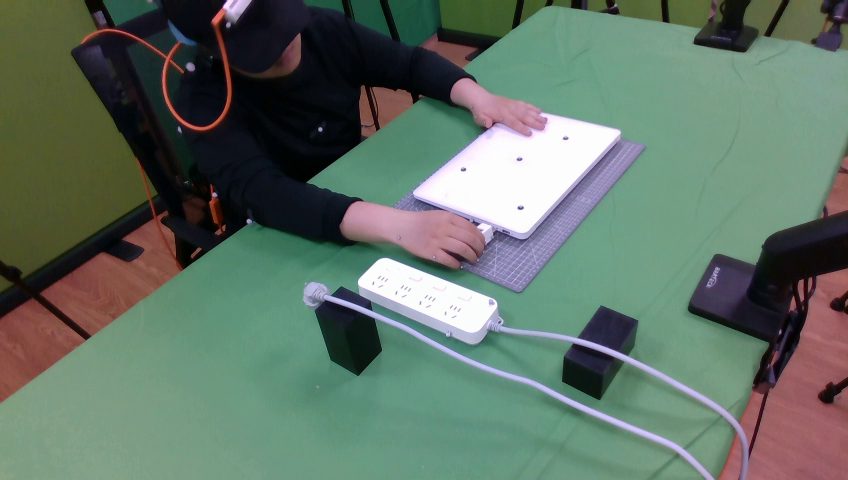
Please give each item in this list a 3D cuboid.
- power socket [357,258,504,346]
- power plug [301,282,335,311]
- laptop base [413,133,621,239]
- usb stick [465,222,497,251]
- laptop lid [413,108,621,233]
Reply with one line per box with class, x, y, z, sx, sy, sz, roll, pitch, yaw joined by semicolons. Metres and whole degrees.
power socket;0.002;0.084;0.862;0.225;0.033;0.072;20;49;28
power plug;-0.133;0.082;0.783;0.035;0.053;0.072;-43;47;-8
laptop base;0.176;-0.134;1.101;0.233;0.023;0.355;21;48;33
usb stick;0.092;-0.009;0.950;0.021;0.027;0.059;24;43;39
laptop lid;0.173;-0.143;1.095;0.239;0.013;0.358;23;49;34
